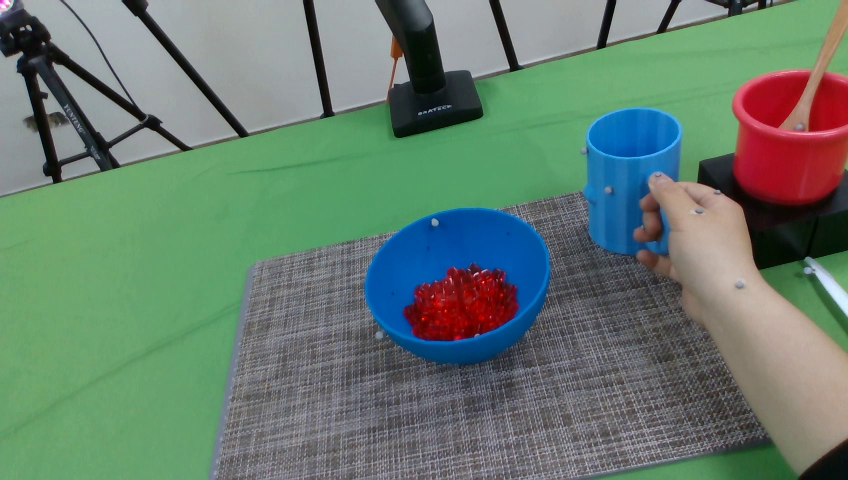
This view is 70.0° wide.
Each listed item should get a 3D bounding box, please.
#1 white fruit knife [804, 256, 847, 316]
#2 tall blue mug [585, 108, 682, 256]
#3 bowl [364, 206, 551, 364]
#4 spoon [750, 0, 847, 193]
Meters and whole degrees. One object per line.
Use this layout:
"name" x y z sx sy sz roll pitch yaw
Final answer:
"white fruit knife" 0.332 0.080 0.433 0.027 0.016 0.205 8 38 -13
"tall blue mug" 0.195 -0.045 0.532 0.078 0.109 0.106 -35 44 -21
"bowl" 0.033 0.050 0.505 0.151 0.077 0.150 -9 42 9
"spoon" 0.318 -0.129 0.490 0.041 0.022 0.194 27 101 39
